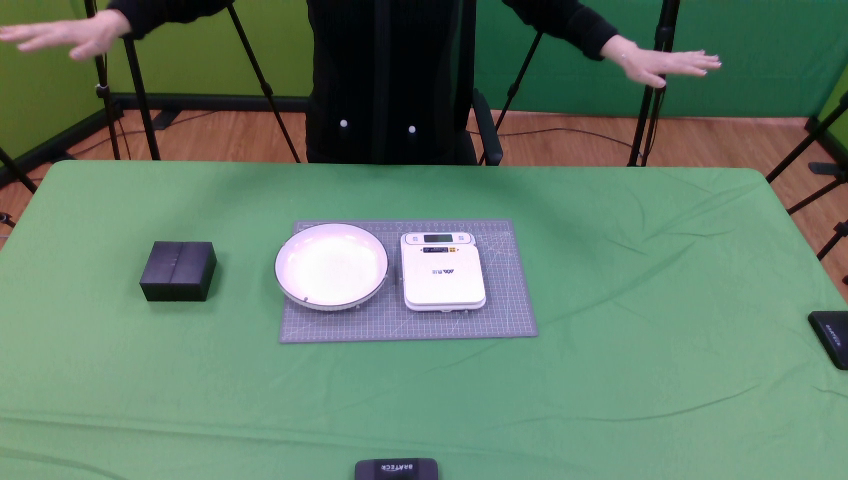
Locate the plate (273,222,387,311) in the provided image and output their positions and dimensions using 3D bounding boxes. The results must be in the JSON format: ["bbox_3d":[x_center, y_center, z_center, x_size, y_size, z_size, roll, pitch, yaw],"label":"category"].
[{"bbox_3d":[-0.172,0.051,1.120,0.209,0.038,0.208,2,46,-2],"label":"plate"}]

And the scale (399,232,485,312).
[{"bbox_3d":[0.031,0.050,1.141,0.149,0.032,0.199,-1,46,-5],"label":"scale"}]
